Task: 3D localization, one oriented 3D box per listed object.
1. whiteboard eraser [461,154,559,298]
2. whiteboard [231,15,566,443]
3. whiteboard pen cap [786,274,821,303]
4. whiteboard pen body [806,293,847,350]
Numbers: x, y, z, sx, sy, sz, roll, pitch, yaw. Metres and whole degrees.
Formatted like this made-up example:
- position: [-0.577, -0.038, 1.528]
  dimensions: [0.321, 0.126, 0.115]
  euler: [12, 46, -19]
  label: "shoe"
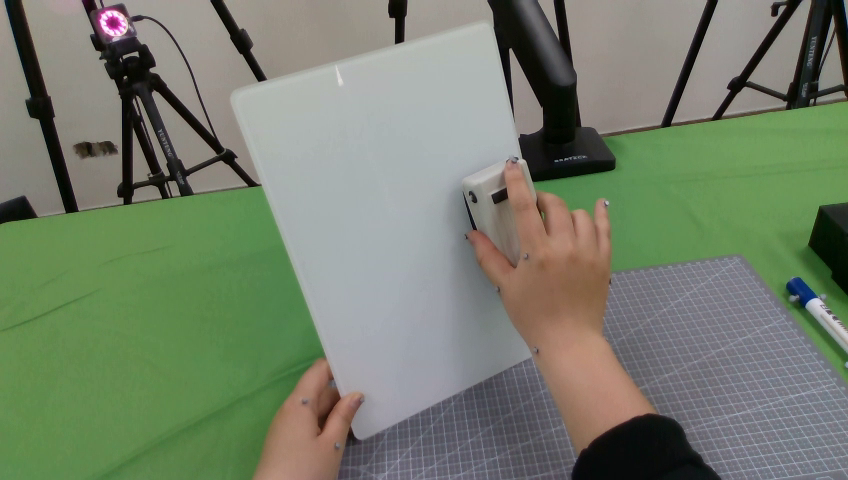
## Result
- position: [0.072, -0.011, 0.510]
  dimensions: [0.055, 0.113, 0.041]
  euler: [-24, 20, -13]
  label: "whiteboard eraser"
- position: [-0.024, -0.017, 0.562]
  dimensions: [0.217, 0.307, 0.142]
  euler: [-22, 19, -16]
  label: "whiteboard"
- position: [0.369, 0.048, 0.586]
  dimensions: [0.018, 0.018, 0.033]
  euler: [-10, 35, -1]
  label: "whiteboard pen cap"
- position: [0.375, 0.082, 0.540]
  dimensions: [0.017, 0.017, 0.139]
  euler: [-9, 36, 0]
  label: "whiteboard pen body"
